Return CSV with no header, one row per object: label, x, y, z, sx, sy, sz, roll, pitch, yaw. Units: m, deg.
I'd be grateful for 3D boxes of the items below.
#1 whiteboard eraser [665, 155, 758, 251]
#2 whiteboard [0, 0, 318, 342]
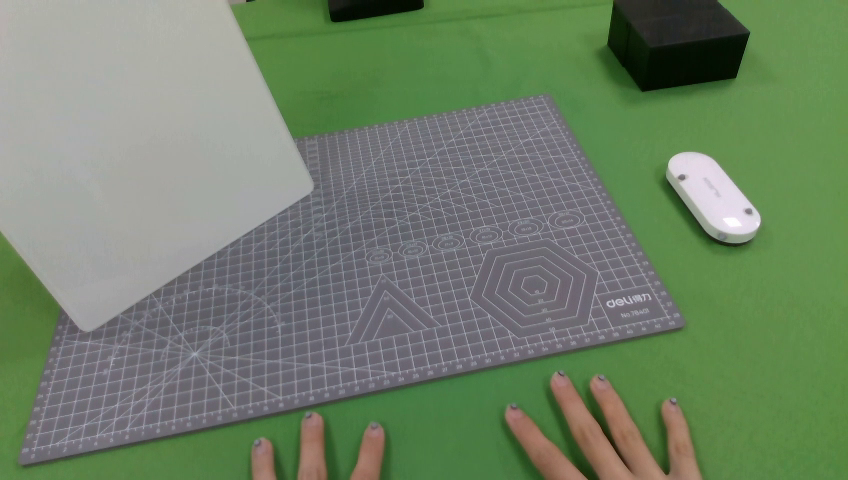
whiteboard eraser,0.231,-0.033,0.493,0.041,0.019,0.100,-10,48,-5
whiteboard,-0.260,-0.121,0.469,0.217,0.308,0.142,-37,34,-25
